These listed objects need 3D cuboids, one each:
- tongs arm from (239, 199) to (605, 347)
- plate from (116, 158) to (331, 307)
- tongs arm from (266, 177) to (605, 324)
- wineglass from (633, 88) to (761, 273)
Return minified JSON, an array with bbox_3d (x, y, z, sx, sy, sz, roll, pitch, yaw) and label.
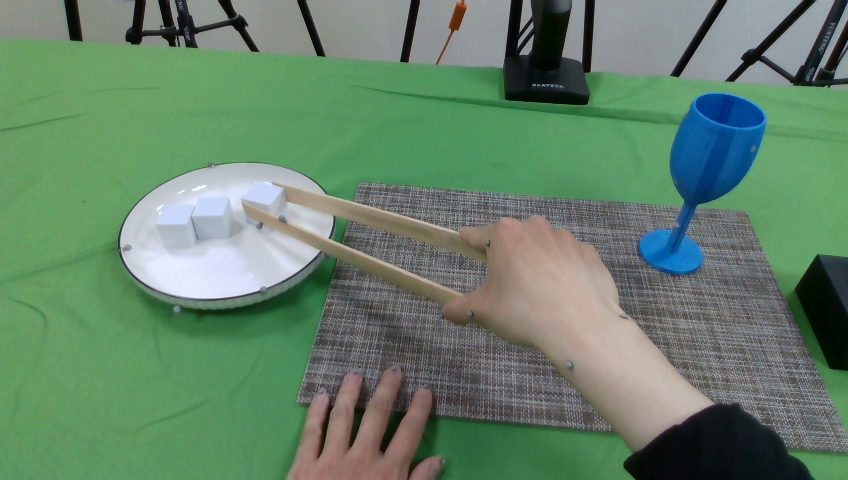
[{"bbox_3d":[-0.031,0.011,0.527,0.381,0.027,0.050,22,54,36],"label":"tongs arm"},{"bbox_3d":[-0.198,-0.008,0.617,0.209,0.038,0.207,1,43,-1],"label":"plate"},{"bbox_3d":[-0.016,-0.006,0.540,0.384,0.028,0.028,19,49,34],"label":"tongs arm"},{"bbox_3d":[0.258,-0.054,0.585,0.074,0.174,0.073,1,43,-1],"label":"wineglass"}]
